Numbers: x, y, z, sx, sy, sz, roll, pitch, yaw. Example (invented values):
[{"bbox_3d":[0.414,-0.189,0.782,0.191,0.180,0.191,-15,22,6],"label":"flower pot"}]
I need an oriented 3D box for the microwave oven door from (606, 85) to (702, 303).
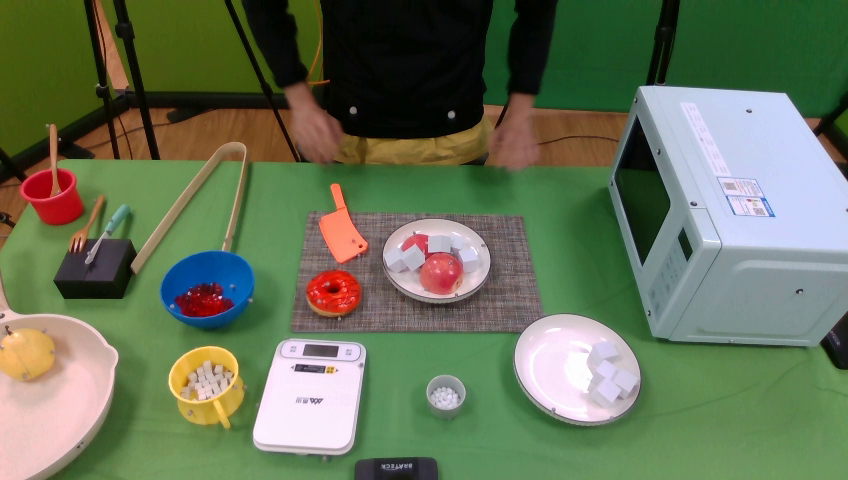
[{"bbox_3d":[0.423,-0.094,1.140,0.039,0.245,0.353,2,46,-1],"label":"microwave oven door"}]

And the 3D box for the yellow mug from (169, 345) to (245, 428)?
[{"bbox_3d":[-0.322,0.230,0.922,0.100,0.064,0.130,-24,53,-25],"label":"yellow mug"}]

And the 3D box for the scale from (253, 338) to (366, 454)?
[{"bbox_3d":[-0.175,0.236,0.951,0.149,0.032,0.199,4,45,-1],"label":"scale"}]

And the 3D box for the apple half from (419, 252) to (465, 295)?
[{"bbox_3d":[0.035,0.056,1.109,0.074,0.053,0.081,37,55,25],"label":"apple half"}]

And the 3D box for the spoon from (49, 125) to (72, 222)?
[{"bbox_3d":[-0.718,-0.131,1.189,0.041,0.021,0.193,-4,90,-7],"label":"spoon"}]

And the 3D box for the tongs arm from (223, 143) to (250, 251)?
[{"bbox_3d":[-0.396,-0.073,1.232,0.051,0.026,0.382,-2,45,0],"label":"tongs arm"}]

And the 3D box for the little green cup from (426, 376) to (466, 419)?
[{"bbox_3d":[0.033,0.248,0.950,0.061,0.039,0.061,2,46,-2],"label":"little green cup"}]

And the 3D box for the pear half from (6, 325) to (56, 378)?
[{"bbox_3d":[-0.608,0.158,0.935,0.076,0.110,0.056,31,51,20],"label":"pear half"}]

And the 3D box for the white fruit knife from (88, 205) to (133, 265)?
[{"bbox_3d":[-0.584,-0.013,1.129,0.016,0.027,0.206,-1,32,-5],"label":"white fruit knife"}]

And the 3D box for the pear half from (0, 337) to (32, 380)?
[{"bbox_3d":[-0.631,0.184,0.921,0.070,0.088,0.031,29,49,19],"label":"pear half"}]

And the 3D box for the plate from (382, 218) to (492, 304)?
[{"bbox_3d":[0.023,0.042,1.143,0.209,0.038,0.208,2,46,-2],"label":"plate"}]

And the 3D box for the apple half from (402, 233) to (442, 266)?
[{"bbox_3d":[-0.004,0.013,1.160,0.081,0.033,0.081,4,45,-4],"label":"apple half"}]

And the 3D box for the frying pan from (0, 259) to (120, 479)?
[{"bbox_3d":[-0.647,0.164,0.936,0.307,0.103,0.485,-19,58,-22],"label":"frying pan"}]

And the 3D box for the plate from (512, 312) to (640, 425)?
[{"bbox_3d":[0.246,0.213,0.999,0.208,0.039,0.206,2,46,-2],"label":"plate"}]

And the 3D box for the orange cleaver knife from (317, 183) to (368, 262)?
[{"bbox_3d":[-0.173,-0.037,1.218,0.077,0.012,0.210,-16,50,-12],"label":"orange cleaver knife"}]

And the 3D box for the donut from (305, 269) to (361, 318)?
[{"bbox_3d":[-0.160,0.094,1.075,0.099,0.048,0.098,3,45,-3],"label":"donut"}]

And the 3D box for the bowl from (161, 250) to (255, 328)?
[{"bbox_3d":[-0.362,0.098,1.040,0.151,0.077,0.150,2,45,-2],"label":"bowl"}]

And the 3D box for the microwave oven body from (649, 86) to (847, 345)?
[{"bbox_3d":[0.567,-0.053,1.118,0.326,0.261,0.439,2,45,-1],"label":"microwave oven body"}]

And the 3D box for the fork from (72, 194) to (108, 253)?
[{"bbox_3d":[-0.634,-0.036,1.158,0.028,0.019,0.206,-8,31,-8],"label":"fork"}]

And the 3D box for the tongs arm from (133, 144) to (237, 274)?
[{"bbox_3d":[-0.480,-0.078,1.235,0.028,0.028,0.385,6,45,13],"label":"tongs arm"}]

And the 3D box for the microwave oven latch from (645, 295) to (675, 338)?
[{"bbox_3d":[0.412,0.134,1.061,0.030,0.029,0.078,3,45,0],"label":"microwave oven latch"}]
